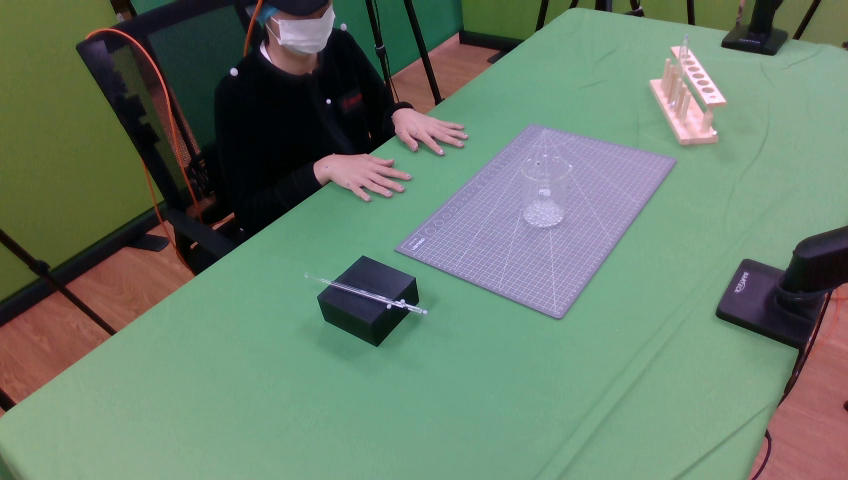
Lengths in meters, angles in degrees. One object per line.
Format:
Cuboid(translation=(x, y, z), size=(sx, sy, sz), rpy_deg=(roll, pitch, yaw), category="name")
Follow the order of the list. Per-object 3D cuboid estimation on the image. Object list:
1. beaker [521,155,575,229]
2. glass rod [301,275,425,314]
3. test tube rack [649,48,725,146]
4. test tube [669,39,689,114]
Cuboid(translation=(0.197, -0.075, 0.969), size=(0.084, 0.101, 0.073), rpy_deg=(-6, 40, 2), category="beaker")
Cuboid(translation=(-0.088, 0.074, 0.833), size=(0.198, 0.008, 0.008), rpy_deg=(14, 44, 23), category="glass rod")
Cuboid(translation=(0.508, -0.285, 1.186), size=(0.067, 0.085, 0.241), rpy_deg=(-4, 40, 6), category="test tube rack")
Cuboid(translation=(0.482, -0.308, 1.146), size=(0.017, 0.151, 0.017), rpy_deg=(-5, 42, 5), category="test tube")
